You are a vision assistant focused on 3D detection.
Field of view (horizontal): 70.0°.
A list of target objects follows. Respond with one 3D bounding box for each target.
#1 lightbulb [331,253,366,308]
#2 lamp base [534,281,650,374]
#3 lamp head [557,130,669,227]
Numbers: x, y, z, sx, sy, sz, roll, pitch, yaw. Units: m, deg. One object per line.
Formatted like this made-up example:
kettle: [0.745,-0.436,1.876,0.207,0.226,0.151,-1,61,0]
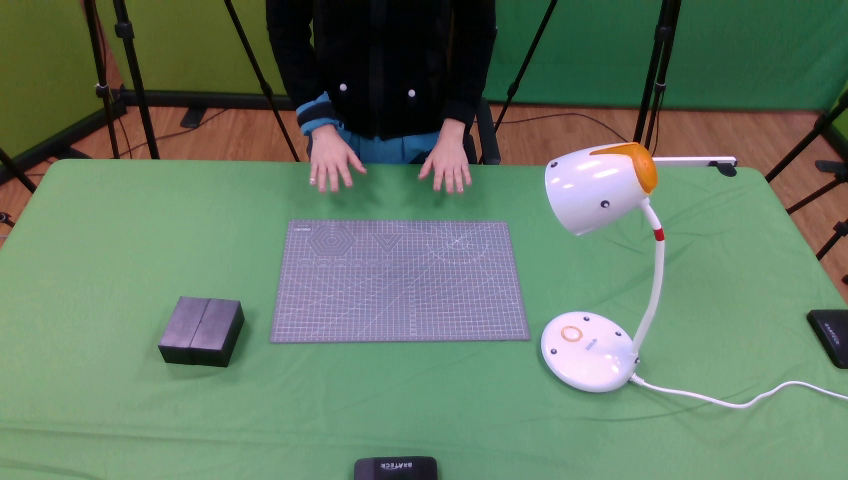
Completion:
lightbulb: [-0.131,0.074,1.094,0.059,0.060,0.107,-15,65,-18]
lamp base: [0.287,0.113,1.000,0.179,0.181,0.160,13,47,5]
lamp head: [0.251,-0.085,0.784,0.123,0.113,0.112,-20,38,29]
